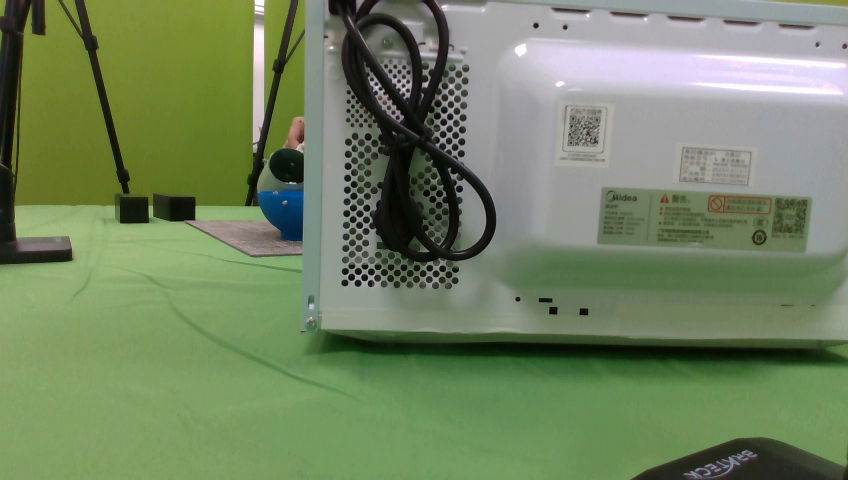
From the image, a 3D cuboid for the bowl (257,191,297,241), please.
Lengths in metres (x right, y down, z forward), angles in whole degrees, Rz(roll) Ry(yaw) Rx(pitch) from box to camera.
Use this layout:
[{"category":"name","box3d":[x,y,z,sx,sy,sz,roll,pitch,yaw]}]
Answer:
[{"category":"bowl","box3d":[-0.207,-0.040,1.027,0.151,0.077,0.151,3,7,0]}]

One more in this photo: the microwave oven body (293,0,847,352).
[{"category":"microwave oven body","box3d":[0.122,-0.055,0.550,0.442,0.260,0.325,3,7,-5]}]

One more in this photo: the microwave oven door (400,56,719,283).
[{"category":"microwave oven door","box3d":[0.155,-0.078,0.697,0.356,0.243,0.039,2,8,-5]}]

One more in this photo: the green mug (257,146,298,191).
[{"category":"green mug","box3d":[-0.256,-0.126,1.144,0.093,0.125,0.104,25,-31,-10]}]

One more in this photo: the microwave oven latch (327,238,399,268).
[{"category":"microwave oven latch","box3d":[-0.069,0.015,0.694,0.079,0.029,0.030,3,7,-3]}]
